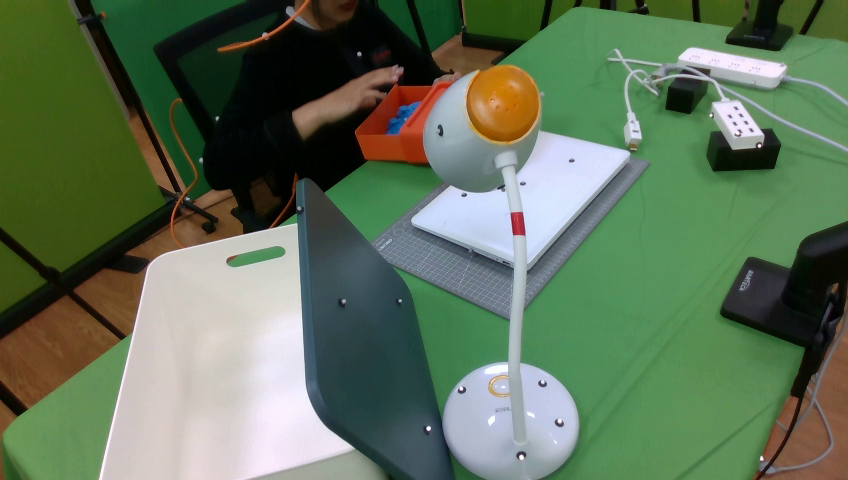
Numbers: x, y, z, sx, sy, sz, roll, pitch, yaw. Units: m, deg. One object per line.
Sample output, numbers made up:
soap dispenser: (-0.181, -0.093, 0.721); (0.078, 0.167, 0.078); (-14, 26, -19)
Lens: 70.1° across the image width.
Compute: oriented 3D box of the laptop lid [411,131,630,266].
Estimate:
laptop lid: (0.172, -0.094, 1.050); (0.239, 0.013, 0.358); (23, 49, 36)

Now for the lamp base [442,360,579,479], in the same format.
lamp base: (0.094, 0.158, 0.657); (0.161, 0.181, 0.178); (-14, 42, -5)

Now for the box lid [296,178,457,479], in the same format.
box lid: (-0.060, 0.103, 0.702); (0.015, 0.265, 0.369); (-30, 39, 11)

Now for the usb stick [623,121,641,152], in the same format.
usb stick: (0.389, -0.191, 1.128); (0.021, 0.027, 0.059); (8, 62, -9)

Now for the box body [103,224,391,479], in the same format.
box body: (-0.190, 0.161, 0.723); (0.255, 0.161, 0.361); (-13, 40, -5)

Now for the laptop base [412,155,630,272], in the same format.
laptop base: (0.175, -0.084, 1.056); (0.233, 0.023, 0.355); (21, 48, 35)

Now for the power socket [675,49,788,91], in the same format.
power socket: (0.647, -0.363, 1.284); (0.225, 0.033, 0.072); (26, 53, 35)

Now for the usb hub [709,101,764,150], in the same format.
usb hub: (0.534, -0.199, 1.040); (0.049, 0.025, 0.124); (-5, 39, 8)

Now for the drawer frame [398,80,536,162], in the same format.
drawer frame: (0.090, -0.230, 1.170); (0.212, 0.083, 0.201); (6, 42, 25)

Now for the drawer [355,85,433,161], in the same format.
drawer: (0.001, -0.237, 1.215); (0.210, 0.073, 0.194); (7, 43, 26)

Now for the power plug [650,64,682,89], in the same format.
power plug: (0.498, -0.341, 1.263); (0.035, 0.052, 0.072); (20, 10, -7)

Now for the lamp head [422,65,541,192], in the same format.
lamp head: (0.060, -0.106, 0.560); (0.113, 0.112, 0.122); (-17, 0, -8)

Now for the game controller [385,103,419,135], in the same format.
game controller: (-0.039, -0.235, 1.243); (0.096, 0.052, 0.155); (7, 45, 26)
